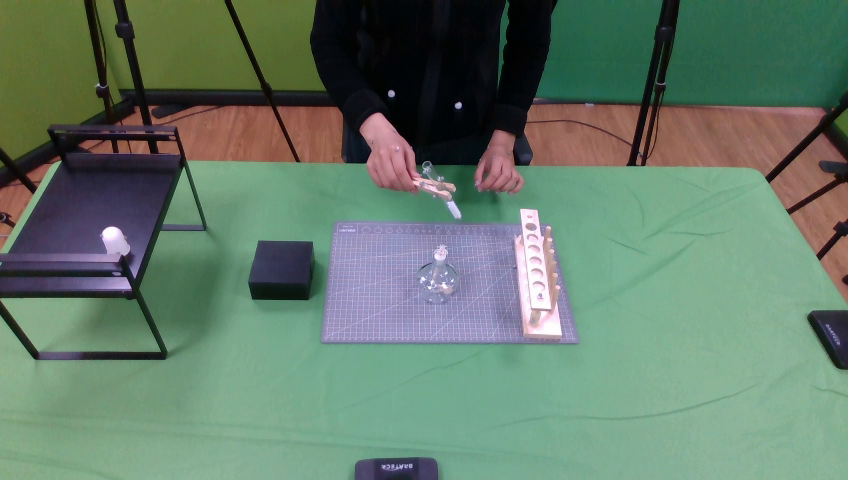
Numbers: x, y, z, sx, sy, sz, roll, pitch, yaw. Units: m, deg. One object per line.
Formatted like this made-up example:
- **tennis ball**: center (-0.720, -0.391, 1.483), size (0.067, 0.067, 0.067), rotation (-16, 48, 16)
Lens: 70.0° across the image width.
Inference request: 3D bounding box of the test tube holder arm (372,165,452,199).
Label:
- **test tube holder arm**: center (-0.025, -0.100, 1.033), size (0.177, 0.015, 0.013), rotation (21, 69, 36)

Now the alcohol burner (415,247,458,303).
- **alcohol burner**: center (0.024, 0.057, 1.078), size (0.078, 0.119, 0.077), rotation (3, 44, -3)

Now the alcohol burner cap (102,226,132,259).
- **alcohol burner cap**: center (-0.457, 0.001, 0.897), size (0.034, 0.048, 0.033), rotation (2, 46, -2)

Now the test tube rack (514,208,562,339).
- **test tube rack**: center (0.212, 0.056, 1.113), size (0.067, 0.085, 0.241), rotation (3, 46, -1)

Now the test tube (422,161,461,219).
- **test tube**: center (0.032, -0.080, 1.000), size (0.017, 0.151, 0.017), rotation (-13, 54, 19)

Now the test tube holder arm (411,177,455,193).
- **test tube holder arm**: center (0.013, -0.093, 1.009), size (0.087, 0.015, 0.010), rotation (13, 65, 33)
